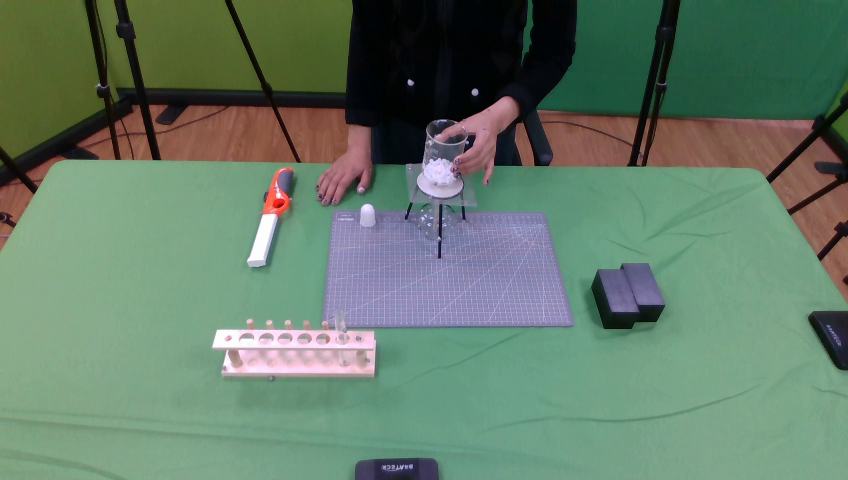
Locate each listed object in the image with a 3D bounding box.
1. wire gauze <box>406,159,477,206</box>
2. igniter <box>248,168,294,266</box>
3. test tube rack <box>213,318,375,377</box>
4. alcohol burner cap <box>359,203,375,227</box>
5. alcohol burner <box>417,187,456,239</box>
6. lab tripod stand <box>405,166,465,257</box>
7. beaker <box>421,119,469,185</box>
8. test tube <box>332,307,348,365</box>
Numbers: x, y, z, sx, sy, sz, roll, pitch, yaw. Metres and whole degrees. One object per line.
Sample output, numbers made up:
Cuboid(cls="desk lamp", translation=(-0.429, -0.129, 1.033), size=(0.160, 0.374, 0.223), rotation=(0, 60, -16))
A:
Cuboid(cls="wire gauze", translation=(0.031, -0.108, 1.129), size=(0.125, 0.011, 0.120), rotation=(-1, 48, -4))
Cuboid(cls="igniter", translation=(-0.307, -0.055, 1.226), size=(0.057, 0.025, 0.275), rotation=(-3, 46, 6))
Cuboid(cls="test tube rack", translation=(-0.202, 0.169, 0.977), size=(0.242, 0.085, 0.066), rotation=(1, 46, -3))
Cuboid(cls="alcohol burner cap", translation=(-0.115, -0.053, 1.224), size=(0.034, 0.048, 0.033), rotation=(3, 46, -3))
Cuboid(cls="alcohol burner", translation=(0.025, -0.059, 1.189), size=(0.078, 0.120, 0.077), rotation=(1, 48, -1))
Cuboid(cls="lab tripod stand", translation=(0.030, -0.063, 1.180), size=(0.148, 0.132, 0.147), rotation=(3, 47, -3))
Cuboid(cls="beaker", translation=(0.033, -0.157, 1.092), size=(0.074, 0.101, 0.083), rotation=(-14, 50, -21))
Cuboid(cls="test tube", translation=(-0.128, 0.151, 0.931), size=(0.017, 0.151, 0.017), rotation=(1, 50, -2))
